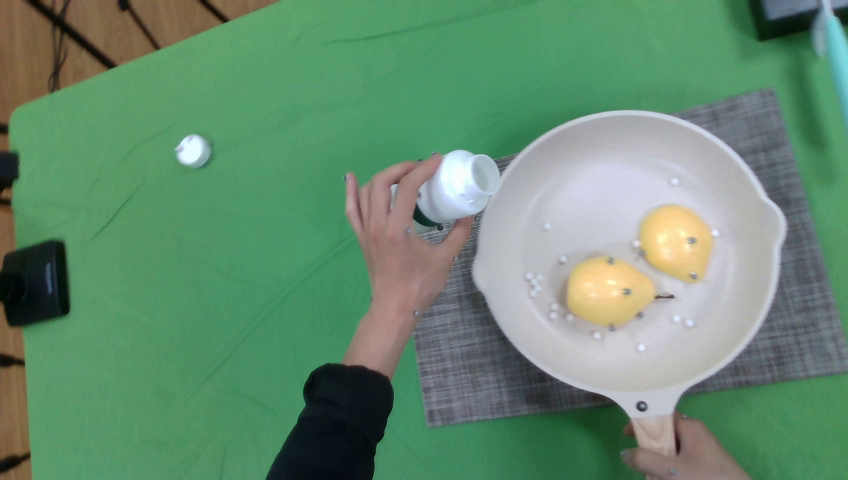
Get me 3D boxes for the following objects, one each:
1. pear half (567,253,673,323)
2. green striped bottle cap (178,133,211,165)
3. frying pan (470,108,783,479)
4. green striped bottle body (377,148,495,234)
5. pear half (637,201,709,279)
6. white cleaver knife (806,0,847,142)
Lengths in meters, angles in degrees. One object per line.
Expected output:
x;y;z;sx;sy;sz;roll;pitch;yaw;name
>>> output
0.208;0.051;0.645;0.109;0.056;0.076;0;88;16;pear half
-0.328;-0.130;0.865;0.044;0.020;0.044;-3;82;18;green striped bottle cap
0.212;0.109;0.612;0.306;0.103;0.484;-10;72;18;frying pan
0.013;-0.049;0.587;0.119;0.063;0.063;-18;76;47;green striped bottle body
0.267;-0.001;0.644;0.070;0.031;0.087;-29;72;17;pear half
0.407;-0.226;0.613;0.021;0.066;0.285;-10;78;22;white cleaver knife
